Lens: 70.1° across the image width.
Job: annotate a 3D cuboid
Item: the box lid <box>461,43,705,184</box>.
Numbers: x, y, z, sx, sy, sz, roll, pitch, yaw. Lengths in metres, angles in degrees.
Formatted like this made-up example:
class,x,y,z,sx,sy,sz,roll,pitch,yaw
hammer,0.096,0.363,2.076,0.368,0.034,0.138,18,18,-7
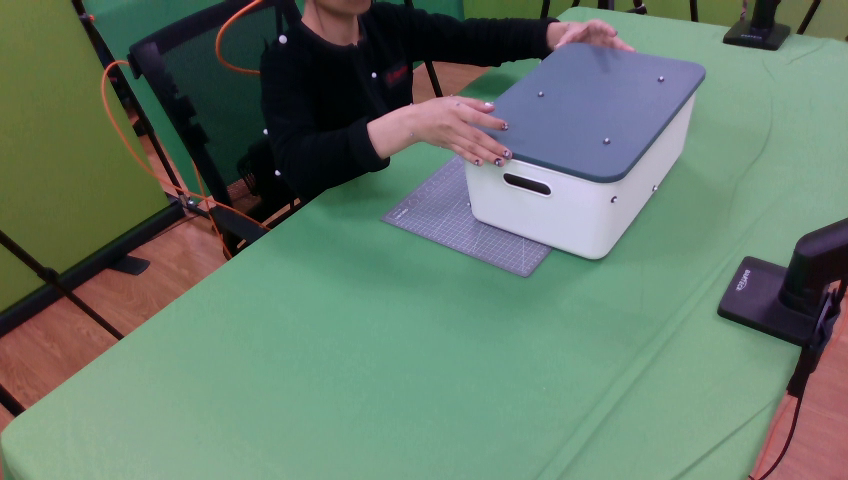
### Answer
class,x,y,z,sx,sy,sz,roll,pitch,yaw
box lid,0.256,-0.216,0.949,0.261,0.015,0.372,22,49,30

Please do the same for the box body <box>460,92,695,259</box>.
class,x,y,z,sx,sy,sz,roll,pitch,yaw
box body,0.261,-0.153,1.001,0.252,0.161,0.365,21,48,31
